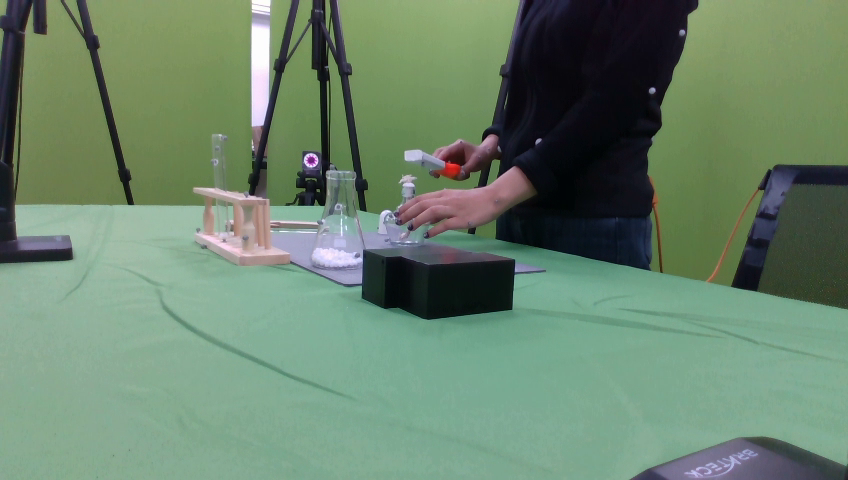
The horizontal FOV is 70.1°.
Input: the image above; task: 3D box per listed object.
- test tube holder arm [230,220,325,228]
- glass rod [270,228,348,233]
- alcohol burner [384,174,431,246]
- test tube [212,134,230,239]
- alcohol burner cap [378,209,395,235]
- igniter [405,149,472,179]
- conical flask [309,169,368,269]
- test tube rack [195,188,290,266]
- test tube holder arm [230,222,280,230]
[{"bbox_3d":[-0.275,-0.029,1.144,0.179,0.015,0.013,-1,42,-30],"label":"test tube holder arm"},{"bbox_3d":[-0.234,-0.017,1.105,0.201,0.008,0.008,1,7,-26],"label":"glass rod"},{"bbox_3d":[-0.026,-0.049,0.994,0.078,0.119,0.078,2,9,0],"label":"alcohol burner"},{"bbox_3d":[-0.290,-0.076,0.863,0.017,0.150,0.017,-2,6,0],"label":"test tube"},{"bbox_3d":[-0.070,-0.035,1.144,0.034,0.048,0.034,2,8,0],"label":"alcohol burner cap"},{"bbox_3d":[0.033,-0.141,1.137,0.057,0.025,0.277,-1,-1,21],"label":"igniter"},{"bbox_3d":[-0.106,-0.028,0.762,0.075,0.122,0.075,2,7,0],"label":"conical flask"},{"bbox_3d":[-0.266,-0.025,0.864,0.067,0.085,0.241,-2,9,-33],"label":"test tube rack"},{"bbox_3d":[-0.312,-0.025,1.118,0.088,0.015,0.010,-1,42,-30],"label":"test tube holder arm"}]
